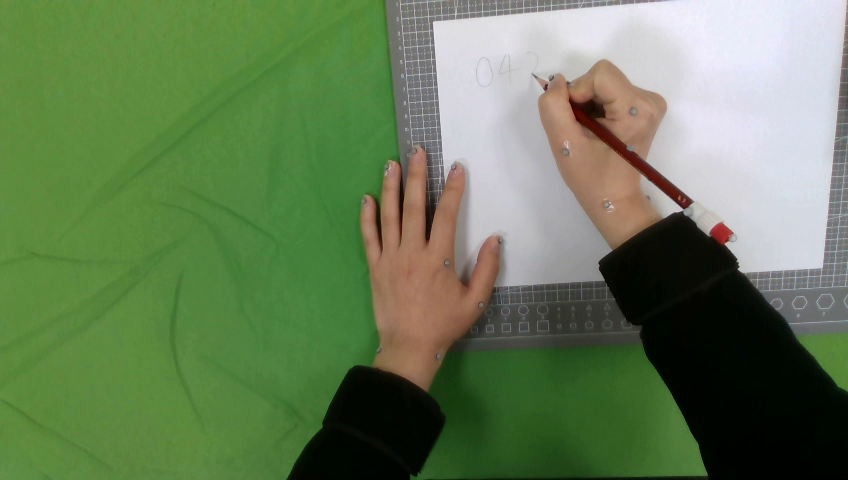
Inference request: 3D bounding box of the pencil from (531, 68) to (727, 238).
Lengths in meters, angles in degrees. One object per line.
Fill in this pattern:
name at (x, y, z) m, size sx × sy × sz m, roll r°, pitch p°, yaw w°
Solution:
pencil at (0.124, -0.067, 0.398) m, size 0.012 × 0.192 × 0.012 m, roll -21°, pitch 141°, yaw -18°
